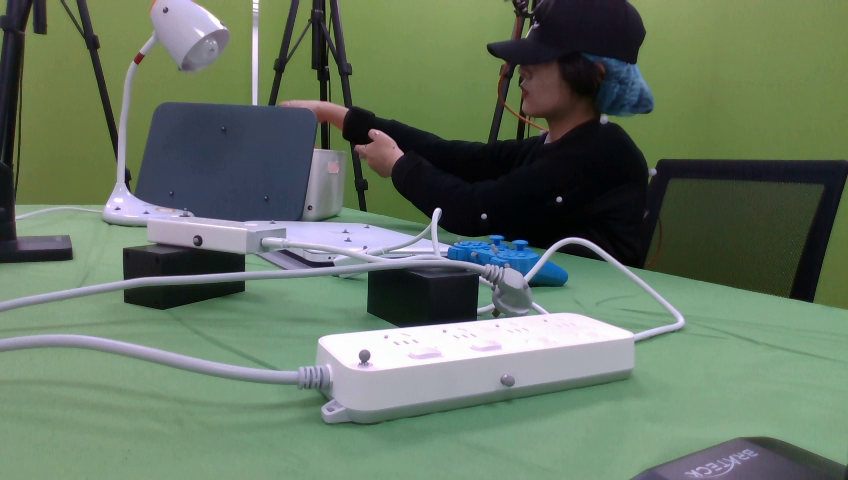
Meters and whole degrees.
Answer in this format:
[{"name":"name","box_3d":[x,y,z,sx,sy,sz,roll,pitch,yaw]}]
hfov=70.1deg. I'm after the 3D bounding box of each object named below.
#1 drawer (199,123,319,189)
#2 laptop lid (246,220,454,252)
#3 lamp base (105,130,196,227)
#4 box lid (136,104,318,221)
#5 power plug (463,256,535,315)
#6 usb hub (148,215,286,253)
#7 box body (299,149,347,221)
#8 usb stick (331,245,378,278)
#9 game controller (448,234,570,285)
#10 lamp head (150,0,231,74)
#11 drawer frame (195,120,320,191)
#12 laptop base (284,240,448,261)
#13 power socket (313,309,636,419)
[{"name":"drawer","box_3d":[-0.376,-0.193,1.401,0.211,0.073,0.195,-23,4,13]},{"name":"laptop lid","box_3d":[-0.123,-0.009,0.945,0.243,0.013,0.355,1,7,-29]},{"name":"lamp base","box_3d":[-0.532,-0.120,1.153,0.179,0.180,0.161,1,7,8]},{"name":"box lid","box_3d":[-0.411,-0.162,1.266,0.371,0.263,0.015,3,-15,9]},{"name":"power plug","box_3d":[0.064,0.039,0.530,0.072,0.052,0.035,31,43,7]},{"name":"usb hub","box_3d":[-0.197,-0.006,0.575,0.125,0.025,0.050,6,6,22]},{"name":"box body","box_3d":[-0.384,-0.137,1.407,0.364,0.160,0.254,3,8,7]},{"name":"usb stick","box_3d":[-0.085,0.026,0.701,0.059,0.027,0.021,-18,19,27]},{"name":"game controller","box_3d":[0.099,0.021,0.756,0.097,0.051,0.154,-7,10,-29]},{"name":"lamp head","box_3d":[-0.432,-0.374,1.086,0.123,0.112,0.112,42,8,-3]},{"name":"drawer frame","box_3d":[-0.378,-0.195,1.401,0.213,0.083,0.202,-24,3,13]},{"name":"laptop base","box_3d":[-0.125,0.002,0.945,0.237,0.023,0.352,2,6,-31]},{"name":"power socket","box_3d":[0.039,0.072,0.385,0.228,0.032,0.072,-2,7,-28]}]
